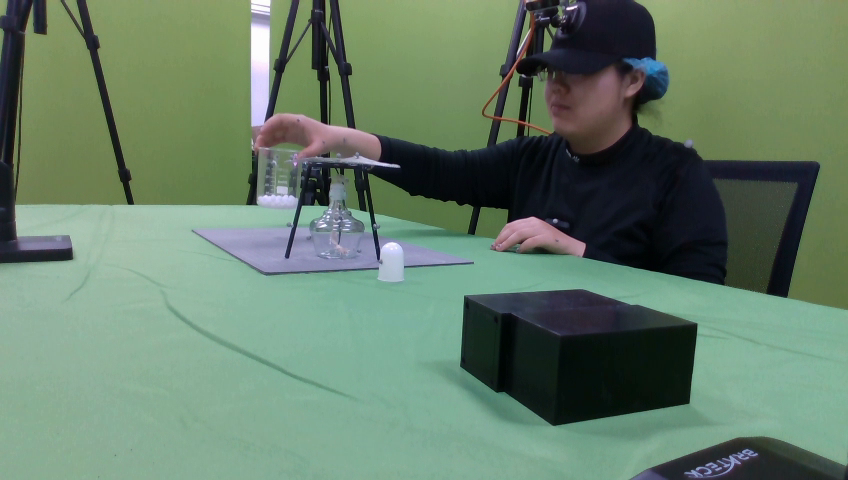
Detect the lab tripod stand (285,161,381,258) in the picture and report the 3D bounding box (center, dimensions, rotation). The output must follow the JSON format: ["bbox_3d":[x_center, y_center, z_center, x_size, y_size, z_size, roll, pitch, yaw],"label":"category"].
[{"bbox_3d":[-0.123,-0.043,0.842,0.148,0.131,0.148,3,9,0],"label":"lab tripod stand"}]

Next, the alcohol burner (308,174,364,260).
[{"bbox_3d":[-0.121,-0.033,0.843,0.078,0.119,0.078,3,5,0],"label":"alcohol burner"}]

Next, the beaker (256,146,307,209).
[{"bbox_3d":[-0.242,-0.104,1.022,0.084,0.100,0.074,3,10,-16],"label":"beaker"}]

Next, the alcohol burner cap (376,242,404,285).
[{"bbox_3d":[-0.039,0.026,0.710,0.034,0.048,0.034,3,6,0],"label":"alcohol burner cap"}]

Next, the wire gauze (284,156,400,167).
[{"bbox_3d":[-0.115,-0.109,0.835,0.126,0.011,0.121,-3,10,-30],"label":"wire gauze"}]
